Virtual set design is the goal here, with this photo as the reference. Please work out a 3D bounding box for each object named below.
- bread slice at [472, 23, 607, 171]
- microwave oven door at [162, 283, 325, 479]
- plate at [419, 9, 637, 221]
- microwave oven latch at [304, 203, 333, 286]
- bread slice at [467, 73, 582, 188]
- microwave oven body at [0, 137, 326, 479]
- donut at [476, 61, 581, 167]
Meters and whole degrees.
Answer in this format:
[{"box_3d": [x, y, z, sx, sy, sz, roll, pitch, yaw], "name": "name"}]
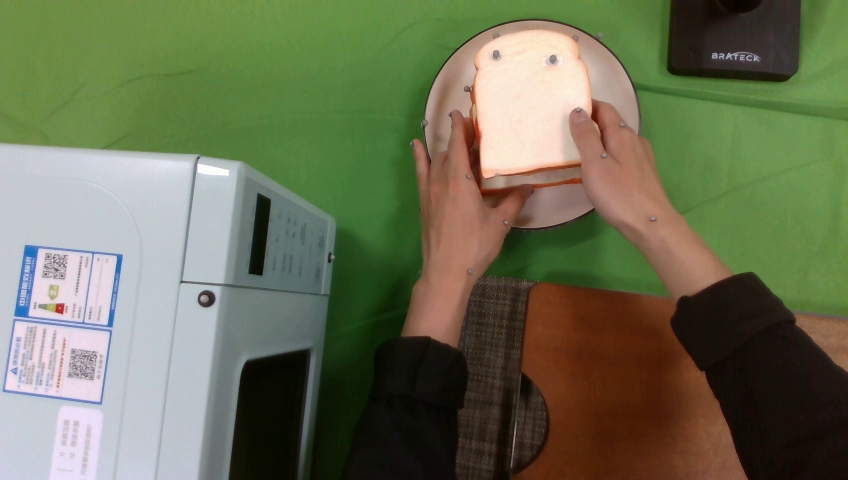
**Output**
[{"box_3d": [0.093, -0.128, 0.539, 0.107, 0.018, 0.133, -11, 77, 4], "name": "bread slice"}, {"box_3d": [-0.139, 0.211, 0.470, 0.039, 0.244, 0.355, 4, 85, 6], "name": "microwave oven door"}, {"box_3d": [0.099, -0.120, 0.597, 0.207, 0.039, 0.207, 0, 85, 6], "name": "plate"}, {"box_3d": [-0.106, 0.004, 0.588, 0.030, 0.029, 0.079, 5, 86, 6], "name": "microwave oven latch"}, {"box_3d": [0.093, -0.121, 0.597, 0.105, 0.019, 0.131, -9, 83, 1], "name": "bread slice"}, {"box_3d": [-0.279, 0.158, 0.494, 0.326, 0.261, 0.440, 4, 86, 6], "name": "microwave oven body"}, {"box_3d": [0.097, -0.117, 0.566, 0.099, 0.048, 0.099, 0, 86, 1], "name": "donut"}]
